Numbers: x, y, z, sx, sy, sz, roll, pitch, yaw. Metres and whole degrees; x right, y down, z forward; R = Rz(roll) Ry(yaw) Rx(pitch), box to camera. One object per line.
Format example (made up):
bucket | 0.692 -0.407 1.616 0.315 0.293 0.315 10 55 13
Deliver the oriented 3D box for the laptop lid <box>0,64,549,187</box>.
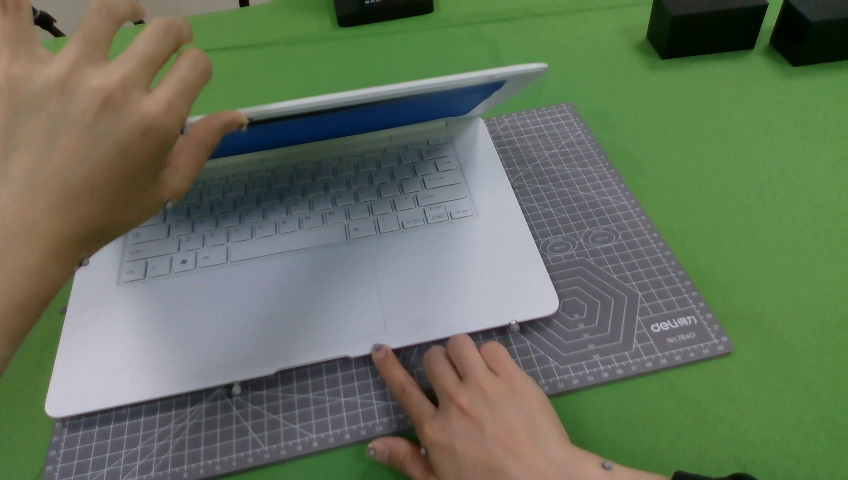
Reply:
laptop lid | -0.108 -0.076 0.442 0.357 0.013 0.241 -11 6 -3

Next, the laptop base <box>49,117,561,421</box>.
laptop base | -0.095 0.005 0.486 0.355 0.023 0.233 -11 51 -5
